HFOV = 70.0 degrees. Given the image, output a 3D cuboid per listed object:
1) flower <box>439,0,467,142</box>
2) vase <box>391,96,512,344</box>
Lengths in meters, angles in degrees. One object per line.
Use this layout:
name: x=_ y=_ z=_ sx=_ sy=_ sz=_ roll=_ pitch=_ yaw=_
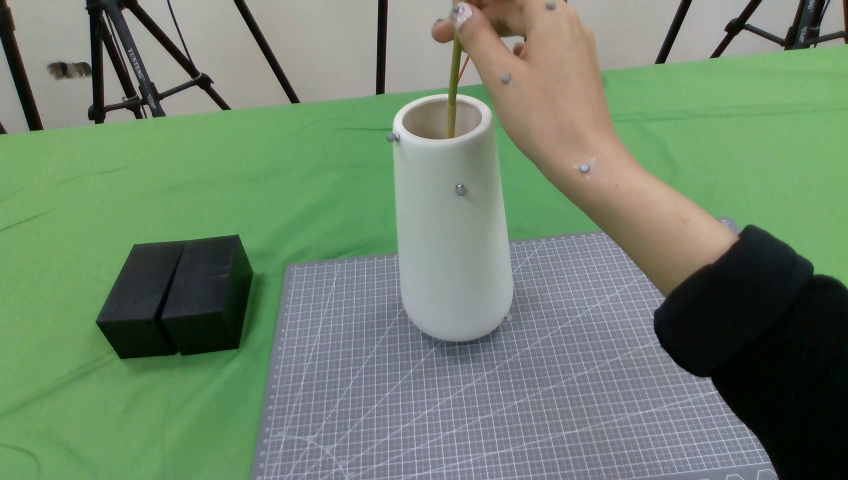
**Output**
flower: x=0.020 y=-0.115 z=0.378 sx=0.044 sy=0.364 sz=0.038 roll=-29 pitch=57 yaw=-28
vase: x=0.020 y=-0.009 z=0.481 sx=0.098 sy=0.202 sz=0.097 roll=-5 pitch=40 yaw=4
